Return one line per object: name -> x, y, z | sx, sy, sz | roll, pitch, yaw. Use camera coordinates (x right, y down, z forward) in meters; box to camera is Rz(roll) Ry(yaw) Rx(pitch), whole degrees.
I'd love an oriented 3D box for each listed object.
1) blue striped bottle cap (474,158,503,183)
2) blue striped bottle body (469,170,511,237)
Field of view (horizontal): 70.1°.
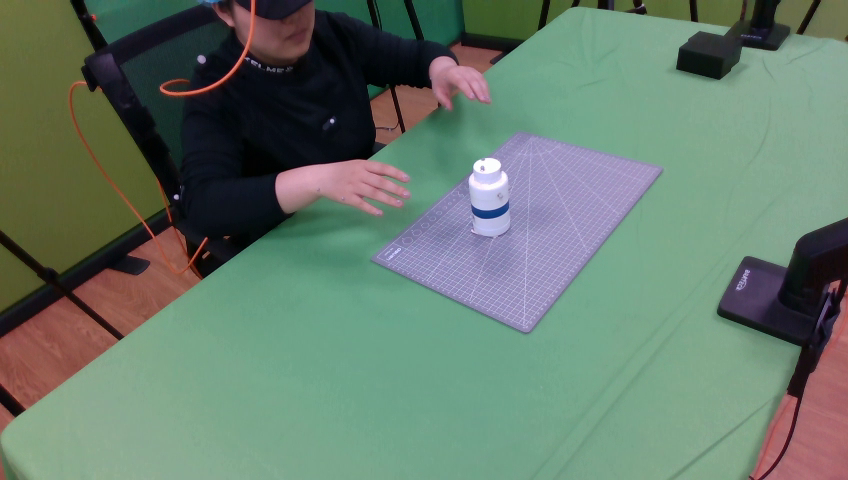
blue striped bottle cap -> 0.099, -0.108, 0.931 | 0.044, 0.021, 0.044 | -6, 40, 5
blue striped bottle body -> 0.105, -0.069, 0.963 | 0.063, 0.121, 0.063 | -6, 40, 5
